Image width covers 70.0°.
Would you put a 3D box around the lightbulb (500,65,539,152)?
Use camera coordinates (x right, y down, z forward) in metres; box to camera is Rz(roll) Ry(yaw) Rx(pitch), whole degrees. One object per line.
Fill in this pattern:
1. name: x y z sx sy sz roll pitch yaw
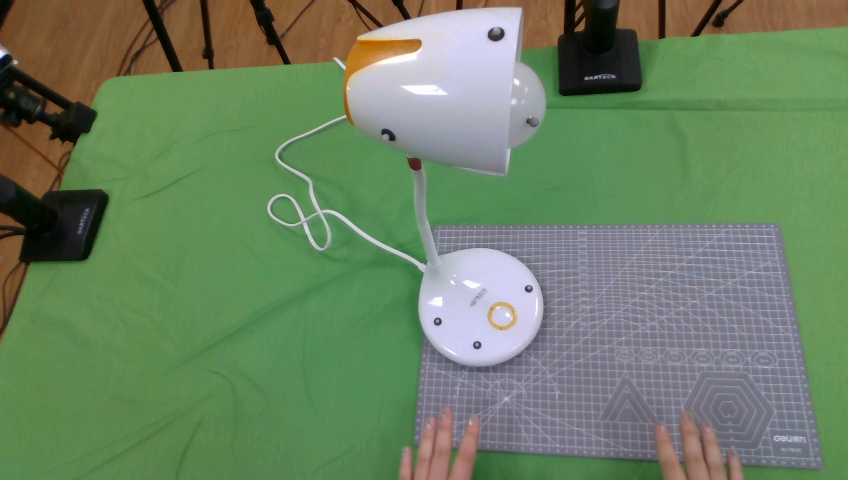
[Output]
1. lightbulb: 0.024 -0.090 0.418 0.107 0.060 0.059 1 64 12

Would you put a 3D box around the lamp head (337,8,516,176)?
1. lamp head: 0.003 -0.103 0.425 0.122 0.113 0.111 4 64 13

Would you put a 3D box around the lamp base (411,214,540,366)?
1. lamp base: 0.044 0.044 0.713 0.178 0.182 0.160 24 70 23
